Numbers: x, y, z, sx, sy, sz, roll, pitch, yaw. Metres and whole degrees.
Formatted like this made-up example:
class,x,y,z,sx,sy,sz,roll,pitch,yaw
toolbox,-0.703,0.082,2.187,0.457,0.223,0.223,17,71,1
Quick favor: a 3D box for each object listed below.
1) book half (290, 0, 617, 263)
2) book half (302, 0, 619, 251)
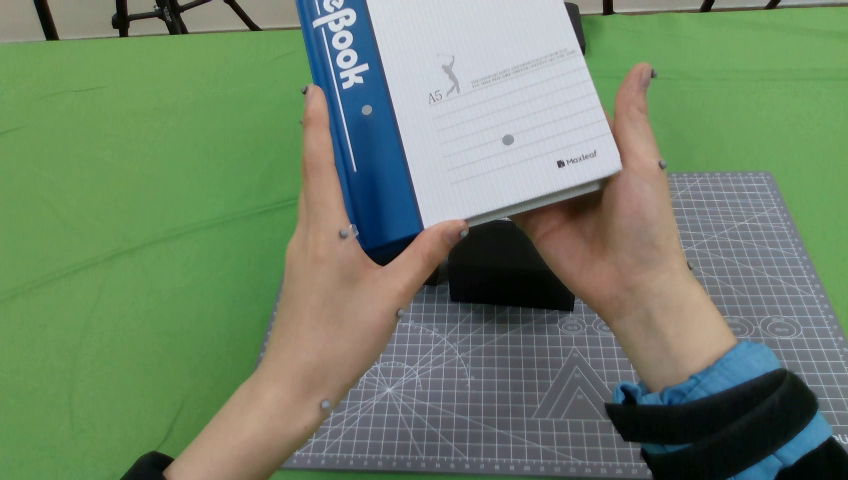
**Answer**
class,x,y,z,sx,sy,sz,roll,pitch,yaw
book half,0.006,-0.105,0.345,0.148,0.016,0.209,-16,74,5
book half,0.007,-0.110,0.339,0.143,0.007,0.208,-16,73,8
